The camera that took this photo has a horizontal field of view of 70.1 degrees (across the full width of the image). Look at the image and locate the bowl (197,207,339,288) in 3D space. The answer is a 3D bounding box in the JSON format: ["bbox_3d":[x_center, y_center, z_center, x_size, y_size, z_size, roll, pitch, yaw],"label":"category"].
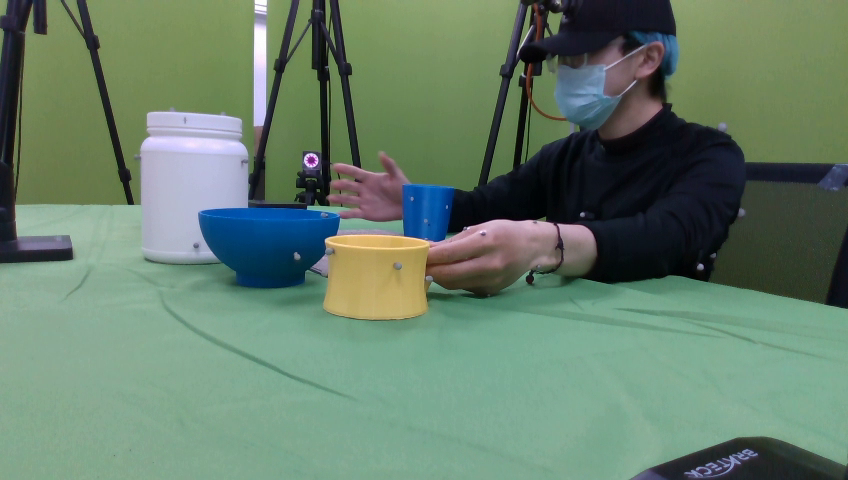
[{"bbox_3d":[-0.171,0.008,0.671,0.151,0.077,0.151,2,7,0],"label":"bowl"}]

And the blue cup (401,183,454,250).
[{"bbox_3d":[0.003,-0.038,0.965,0.093,0.100,0.092,4,8,0],"label":"blue cup"}]

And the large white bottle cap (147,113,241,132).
[{"bbox_3d":[-0.297,-0.151,0.786,0.115,0.018,0.115,2,7,0],"label":"large white bottle cap"}]

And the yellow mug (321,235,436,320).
[{"bbox_3d":[-0.035,0.031,0.580,0.099,0.064,0.131,9,8,43],"label":"yellow mug"}]

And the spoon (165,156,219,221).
[{"bbox_3d":[-0.451,-0.104,1.193,0.041,0.022,0.193,5,52,17],"label":"spoon"}]

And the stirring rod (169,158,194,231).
[{"bbox_3d":[-0.424,-0.082,1.060,0.014,0.006,0.175,2,50,-10],"label":"stirring rod"}]

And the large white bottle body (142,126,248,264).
[{"bbox_3d":[-0.300,-0.068,0.797,0.131,0.184,0.130,2,7,0],"label":"large white bottle body"}]
